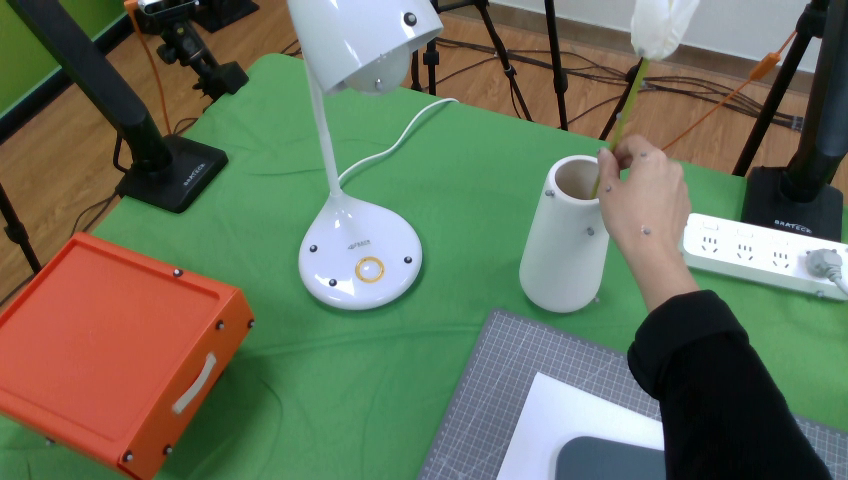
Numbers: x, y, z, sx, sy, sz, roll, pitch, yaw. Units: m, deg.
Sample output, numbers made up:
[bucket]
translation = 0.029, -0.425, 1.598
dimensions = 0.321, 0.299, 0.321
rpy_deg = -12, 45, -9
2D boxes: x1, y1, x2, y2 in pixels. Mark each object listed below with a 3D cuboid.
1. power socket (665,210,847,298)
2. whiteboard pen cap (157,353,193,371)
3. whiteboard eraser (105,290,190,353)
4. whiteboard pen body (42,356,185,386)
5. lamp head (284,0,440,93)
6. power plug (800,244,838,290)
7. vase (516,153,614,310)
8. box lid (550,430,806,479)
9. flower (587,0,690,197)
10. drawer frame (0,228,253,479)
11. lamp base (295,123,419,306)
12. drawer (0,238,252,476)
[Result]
[power socket]
translation = 0.424, 0.016, 0.762
dimensions = 0.226, 0.033, 0.072
rpy_deg = 14, 56, 11
[whiteboard pen cap]
translation = -0.263, 0.130, 0.642
dimensions = 0.033, 0.018, 0.018
rpy_deg = -6, 53, -7
[whiteboard eraser]
translation = -0.311, 0.094, 0.689
dimensions = 0.112, 0.042, 0.055
rpy_deg = -15, 58, 29
[whiteboard pen body]
translation = -0.322, 0.135, 0.632
dimensions = 0.141, 0.017, 0.017
rpy_deg = -7, 53, -5
[lamp head]
translation = -0.063, -0.192, 0.480
dimensions = 0.112, 0.112, 0.123
rpy_deg = -34, 98, -21
[power plug]
translation = 0.463, 0.036, 0.717
dimensions = 0.035, 0.053, 0.072
rpy_deg = 22, 59, 18
[vase]
translation = 0.158, -0.005, 0.683
dimensions = 0.098, 0.202, 0.097
rpy_deg = -2, 52, 2
[box lid]
translation = 0.229, 0.361, 0.525
dimensions = 0.263, 0.015, 0.368
rpy_deg = 9, 55, 8
[flower]
translation = 0.166, -0.065, 0.579
dimensions = 0.044, 0.364, 0.038
rpy_deg = 2, 45, -5
[drawer frame]
translation = -0.329, 0.111, 0.635
dimensions = 0.213, 0.083, 0.200
rpy_deg = 18, 57, 13
[lamp base]
translation = -0.096, -0.039, 0.728
dimensions = 0.161, 0.182, 0.177
rpy_deg = -27, 54, -17
[drawer]
translation = -0.323, 0.109, 0.632
dimensions = 0.211, 0.074, 0.193
rpy_deg = 17, 57, 14
